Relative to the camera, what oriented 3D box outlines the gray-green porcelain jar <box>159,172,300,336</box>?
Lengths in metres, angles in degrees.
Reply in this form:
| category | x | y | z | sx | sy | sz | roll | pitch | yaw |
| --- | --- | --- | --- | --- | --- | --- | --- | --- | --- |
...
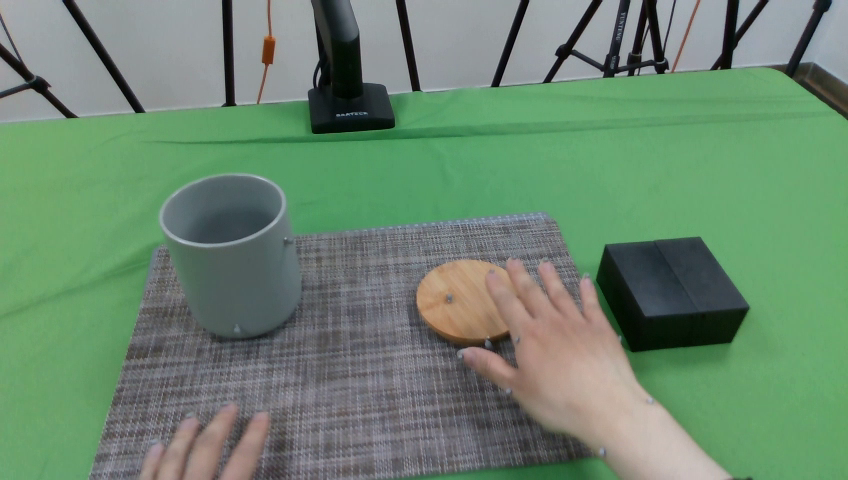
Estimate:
| category | x | y | z | sx | sy | sz | roll | pitch | yaw |
| --- | --- | --- | --- | --- | --- | --- | --- | --- | --- |
| gray-green porcelain jar | -0.173 | 0.018 | 0.561 | 0.106 | 0.127 | 0.105 | 1 | 41 | 0 |

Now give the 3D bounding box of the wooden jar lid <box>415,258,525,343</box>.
| category | x | y | z | sx | sy | sz | roll | pitch | yaw |
| --- | --- | --- | --- | --- | --- | --- | --- | --- | --- |
| wooden jar lid | 0.045 | 0.060 | 0.599 | 0.108 | 0.021 | 0.107 | 2 | 42 | -1 |
